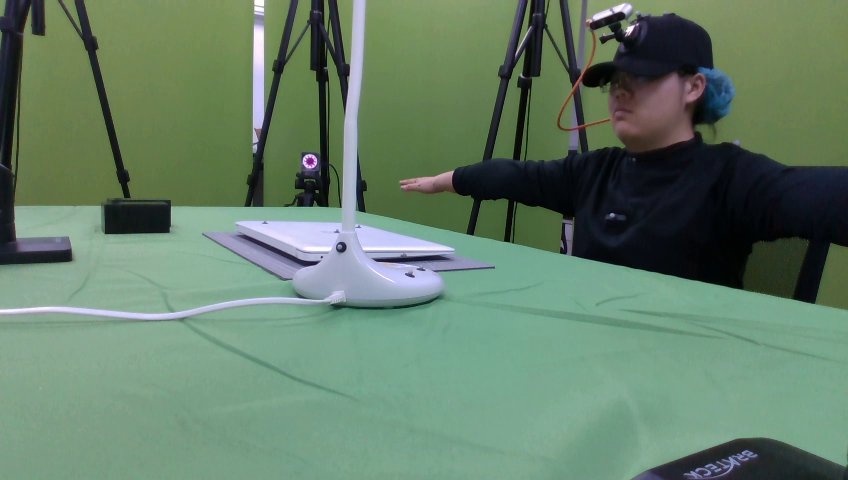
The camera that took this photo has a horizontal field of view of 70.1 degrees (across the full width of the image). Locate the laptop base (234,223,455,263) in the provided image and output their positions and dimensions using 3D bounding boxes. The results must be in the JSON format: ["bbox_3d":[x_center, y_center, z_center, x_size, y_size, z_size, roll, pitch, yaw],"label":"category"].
[{"bbox_3d":[-0.141,0.003,0.959,0.237,0.023,0.352,2,6,-32],"label":"laptop base"}]

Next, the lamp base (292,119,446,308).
[{"bbox_3d":[-0.056,-0.030,0.616,0.160,0.180,0.179,3,10,8],"label":"lamp base"}]

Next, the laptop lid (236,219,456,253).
[{"bbox_3d":[-0.139,-0.009,0.959,0.243,0.013,0.355,1,7,-30],"label":"laptop lid"}]
